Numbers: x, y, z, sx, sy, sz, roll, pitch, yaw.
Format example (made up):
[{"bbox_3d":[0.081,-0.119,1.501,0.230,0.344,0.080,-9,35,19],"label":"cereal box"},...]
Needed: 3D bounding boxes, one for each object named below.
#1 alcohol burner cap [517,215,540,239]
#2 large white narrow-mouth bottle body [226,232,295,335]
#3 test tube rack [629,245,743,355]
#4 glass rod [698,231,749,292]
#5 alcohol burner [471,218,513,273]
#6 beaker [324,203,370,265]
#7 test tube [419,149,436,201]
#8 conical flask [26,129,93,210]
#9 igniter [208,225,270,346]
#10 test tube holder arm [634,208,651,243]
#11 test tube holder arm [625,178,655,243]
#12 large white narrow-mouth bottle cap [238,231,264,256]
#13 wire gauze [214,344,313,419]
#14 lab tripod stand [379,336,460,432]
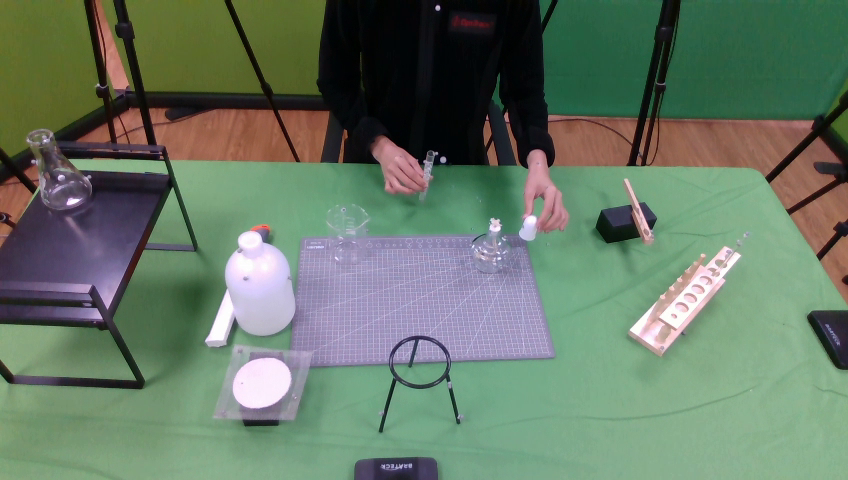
[{"bbox_3d":[0.199,-0.028,1.140,0.034,0.048,0.033,11,51,-13],"label":"alcohol burner cap"},{"bbox_3d":[-0.270,0.065,0.995,0.102,0.195,0.101,2,46,-2],"label":"large white narrow-mouth bottle body"},{"bbox_3d":[0.474,0.095,1.091,0.242,0.085,0.066,-34,56,-31],"label":"test tube rack"},{"bbox_3d":[0.515,0.044,1.051,0.008,0.200,0.008,1,55,-1],"label":"glass rod"},{"bbox_3d":[0.128,0.005,1.132,0.078,0.120,0.077,0,47,0],"label":"alcohol burner"},{"bbox_3d":[-0.142,-0.009,1.137,0.084,0.101,0.073,-3,47,-7],"label":"beaker"},{"bbox_3d":[0.005,-0.125,1.196,0.017,0.151,0.017,4,57,-6],"label":"test tube"},{"bbox_3d":[-0.575,-0.113,0.946,0.075,0.122,0.075,2,46,-2],"label":"conical flask"},{"bbox_3d":[-0.331,0.073,1.099,0.057,0.025,0.275,-4,45,10],"label":"igniter"},{"bbox_3d":[0.428,-0.030,1.189,0.010,0.015,0.087,1,47,-2],"label":"test tube holder arm"},{"bbox_3d":[0.433,-0.062,1.220,0.013,0.015,0.177,0,47,-2],"label":"test tube holder arm"},{"bbox_3d":[-0.266,0.006,0.932,0.038,0.024,0.037,2,46,-2],"label":"large white narrow-mouth bottle cap"},{"bbox_3d":[-0.241,0.213,0.915,0.121,0.011,0.124,5,46,1],"label":"wire gauze"},{"bbox_3d":[-0.010,0.214,0.911,0.148,0.132,0.147,1,45,0],"label":"lab tripod stand"}]
